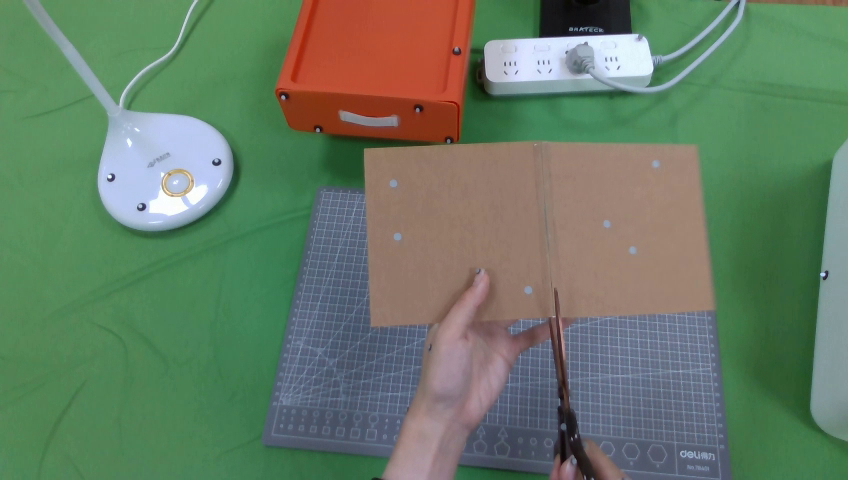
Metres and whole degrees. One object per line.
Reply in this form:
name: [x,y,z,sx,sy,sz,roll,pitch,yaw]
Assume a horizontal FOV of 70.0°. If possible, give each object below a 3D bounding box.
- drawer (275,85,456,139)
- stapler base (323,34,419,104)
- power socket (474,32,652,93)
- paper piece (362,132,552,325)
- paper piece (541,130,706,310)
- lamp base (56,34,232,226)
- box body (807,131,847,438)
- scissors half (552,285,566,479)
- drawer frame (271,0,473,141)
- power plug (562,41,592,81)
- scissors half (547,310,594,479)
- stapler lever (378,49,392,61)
drawer: [-0.049,-0.226,0.708,0.194,0.074,0.210,5,64,6]
stapler base: [-0.066,-0.207,0.720,0.129,0.024,0.041,34,86,20]
power socket: [0.177,-0.227,0.775,0.227,0.033,0.071,-1,65,2]
paper piece: [0.024,-0.009,0.448,0.136,0.008,0.138,-2,86,3]
paper piece: [0.153,-0.014,0.464,0.136,0.004,0.135,2,81,-14]
lamp base: [-0.326,-0.128,0.666,0.178,0.182,0.160,35,70,21]
box body: [0.527,0.033,0.561,0.253,0.161,0.362,17,66,10]
scissors half: [0.099,0.118,0.441,0.013,0.040,0.176,-5,101,2]
drawer frame: [-0.051,-0.229,0.709,0.201,0.083,0.212,5,64,6]
power plug: [0.186,-0.211,0.741,0.035,0.053,0.072,8,65,6]
scissors half: [0.099,0.114,0.417,0.013,0.040,0.173,-4,63,-3]
stapler lever: [-0.075,-0.214,0.696,0.117,0.040,0.027,33,86,21]
